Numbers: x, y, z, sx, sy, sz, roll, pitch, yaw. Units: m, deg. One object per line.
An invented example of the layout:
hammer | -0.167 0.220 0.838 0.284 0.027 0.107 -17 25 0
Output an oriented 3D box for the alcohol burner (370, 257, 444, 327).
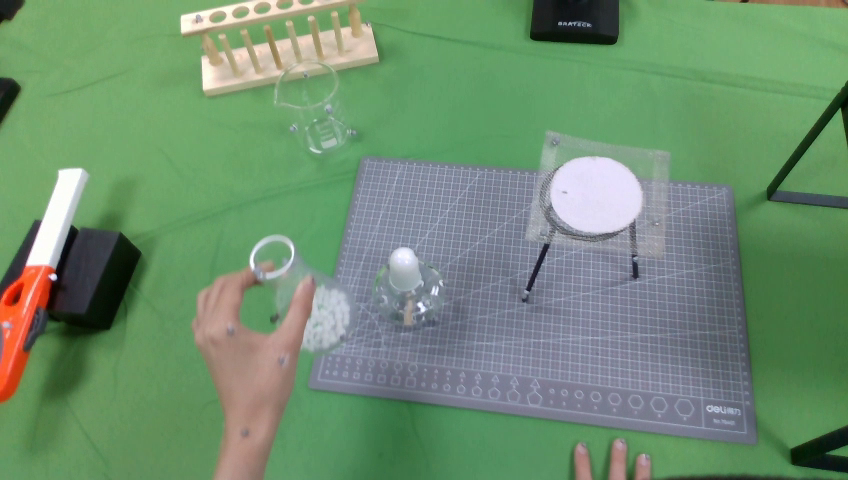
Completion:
alcohol burner | -0.019 0.045 0.623 0.078 0.120 0.077 -1 61 2

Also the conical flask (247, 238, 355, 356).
conical flask | -0.108 0.044 0.512 0.075 0.123 0.074 -4 58 7

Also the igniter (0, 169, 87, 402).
igniter | -0.420 0.041 0.652 0.057 0.025 0.274 -3 61 8

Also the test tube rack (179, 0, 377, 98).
test tube rack | -0.193 -0.269 0.819 0.242 0.086 0.066 -12 62 -3

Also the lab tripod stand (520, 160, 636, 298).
lab tripod stand | 0.161 -0.010 0.628 0.148 0.132 0.147 -1 61 2

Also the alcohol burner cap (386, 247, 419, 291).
alcohol burner cap | -0.021 0.025 0.592 0.034 0.048 0.033 0 56 0

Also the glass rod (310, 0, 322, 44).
glass rod | -0.145 -0.326 0.771 0.008 0.201 0.008 1 61 -1

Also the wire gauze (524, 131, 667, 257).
wire gauze | 0.164 -0.045 0.570 0.121 0.011 0.124 11 64 8

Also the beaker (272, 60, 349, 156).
beaker | -0.137 -0.157 0.749 0.084 0.101 0.073 -33 64 -12
